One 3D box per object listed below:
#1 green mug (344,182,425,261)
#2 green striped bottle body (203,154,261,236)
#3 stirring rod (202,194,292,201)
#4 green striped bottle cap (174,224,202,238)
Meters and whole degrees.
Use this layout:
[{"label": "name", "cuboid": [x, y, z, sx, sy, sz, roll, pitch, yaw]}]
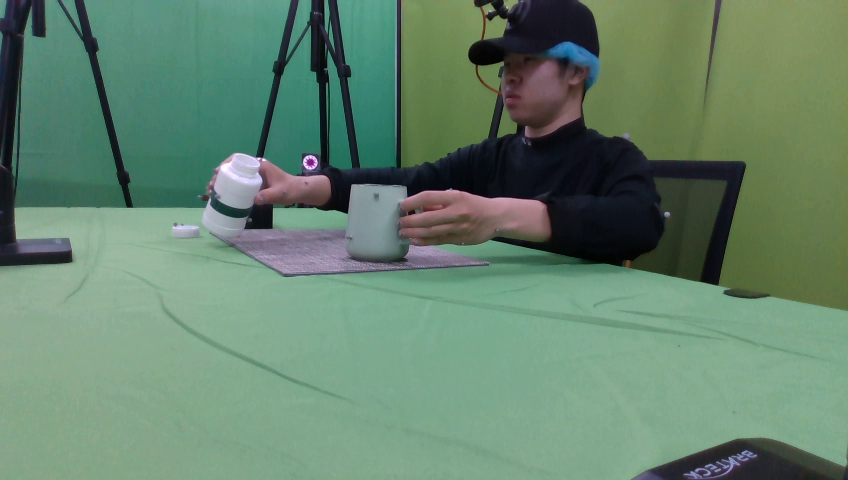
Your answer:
[{"label": "green mug", "cuboid": [-0.053, -0.026, 0.849, 0.125, 0.105, 0.093, 7, 9, 33]}, {"label": "green striped bottle body", "cuboid": [-0.288, -0.070, 0.916, 0.063, 0.119, 0.063, 23, 23, -10]}, {"label": "stirring rod", "cuboid": [-0.353, -0.086, 1.216, 0.177, 0.014, 0.006, -1, 12, -27]}, {"label": "green striped bottle cap", "cuboid": [-0.404, -0.015, 1.036, 0.044, 0.020, 0.044, -2, 8, 1]}]
